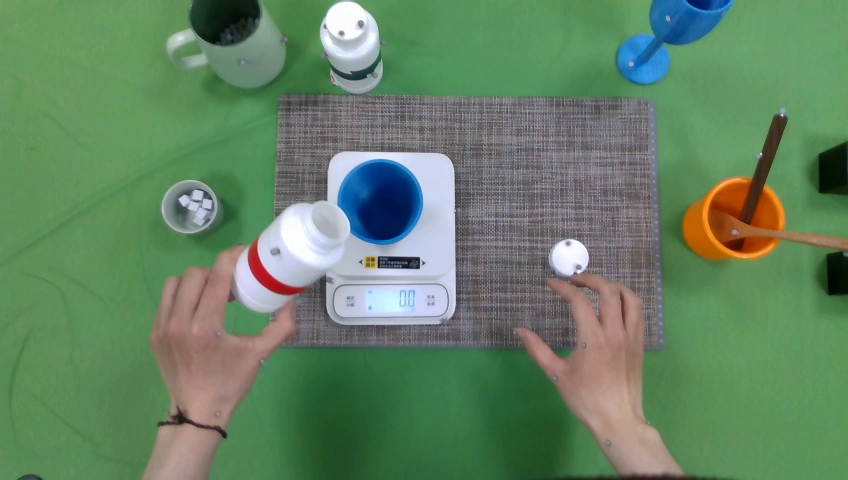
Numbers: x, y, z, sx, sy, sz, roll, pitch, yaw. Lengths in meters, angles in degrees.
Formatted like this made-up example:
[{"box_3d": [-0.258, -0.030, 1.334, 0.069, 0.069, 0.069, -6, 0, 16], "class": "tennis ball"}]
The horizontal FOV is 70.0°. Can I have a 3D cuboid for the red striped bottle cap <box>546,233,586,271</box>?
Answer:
[{"box_3d": [0.166, 0.014, 0.707, 0.044, 0.018, 0.044, 1, 81, -6], "class": "red striped bottle cap"}]

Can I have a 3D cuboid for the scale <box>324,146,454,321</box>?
[{"box_3d": [-0.040, -0.009, 0.697, 0.149, 0.031, 0.200, -1, 84, -1], "class": "scale"}]

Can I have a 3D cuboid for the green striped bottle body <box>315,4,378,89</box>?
[{"box_3d": [-0.086, -0.221, 0.681, 0.063, 0.119, 0.063, 0, 82, -1], "class": "green striped bottle body"}]

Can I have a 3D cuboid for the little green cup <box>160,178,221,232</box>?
[{"box_3d": [-0.264, -0.038, 0.695, 0.061, 0.038, 0.061, 0, 83, -2], "class": "little green cup"}]

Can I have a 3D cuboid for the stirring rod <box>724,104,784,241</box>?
[{"box_3d": [0.356, -0.067, 0.659, 0.014, 0.178, 0.006, 7, 42, 13], "class": "stirring rod"}]

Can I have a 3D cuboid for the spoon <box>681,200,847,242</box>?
[{"box_3d": [0.375, -0.014, 0.653, 0.022, 0.192, 0.041, 14, 90, -43], "class": "spoon"}]

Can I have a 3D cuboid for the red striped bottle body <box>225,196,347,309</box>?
[{"box_3d": [-0.116, 0.008, 0.522, 0.120, 0.063, 0.063, -36, 83, 36], "class": "red striped bottle body"}]

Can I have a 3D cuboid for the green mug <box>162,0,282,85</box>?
[{"box_3d": [-0.231, -0.228, 0.686, 0.125, 0.105, 0.092, -22, 84, -3], "class": "green mug"}]

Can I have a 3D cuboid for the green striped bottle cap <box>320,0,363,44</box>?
[{"box_3d": [-0.086, -0.229, 0.629, 0.044, 0.020, 0.044, 0, 82, -2], "class": "green striped bottle cap"}]

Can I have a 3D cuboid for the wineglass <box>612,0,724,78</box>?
[{"box_3d": [0.265, -0.243, 0.665, 0.074, 0.172, 0.073, 0, 82, -1], "class": "wineglass"}]

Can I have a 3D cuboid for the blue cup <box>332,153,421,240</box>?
[{"box_3d": [-0.046, -0.038, 0.635, 0.093, 0.100, 0.092, 0, 85, -1], "class": "blue cup"}]
